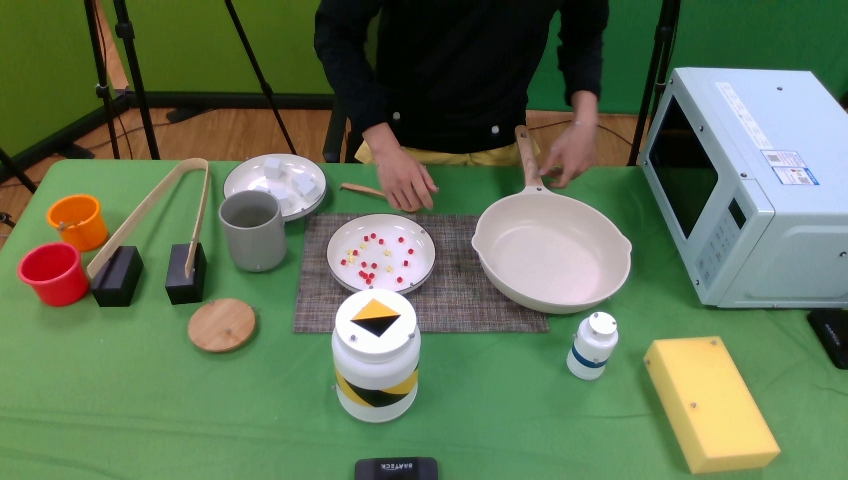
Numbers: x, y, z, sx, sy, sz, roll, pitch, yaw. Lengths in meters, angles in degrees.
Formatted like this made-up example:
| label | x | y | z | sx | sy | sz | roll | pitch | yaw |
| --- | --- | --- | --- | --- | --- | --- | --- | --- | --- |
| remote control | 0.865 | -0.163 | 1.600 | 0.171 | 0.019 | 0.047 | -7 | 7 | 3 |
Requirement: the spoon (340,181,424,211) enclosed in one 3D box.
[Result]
| label | x | y | z | sx | sy | sz | roll | pitch | yaw |
| --- | --- | --- | --- | --- | --- | --- | --- | --- | --- |
| spoon | -0.090 | -0.100 | 1.282 | 0.193 | 0.022 | 0.041 | 18 | 64 | 12 |

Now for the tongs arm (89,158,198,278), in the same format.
| label | x | y | z | sx | sy | sz | roll | pitch | yaw |
| --- | --- | --- | --- | --- | --- | --- | --- | --- | --- |
| tongs arm | -0.529 | -0.057 | 1.164 | 0.028 | 0.028 | 0.385 | 1 | 36 | 8 |

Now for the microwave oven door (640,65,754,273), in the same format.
| label | x | y | z | sx | sy | sz | roll | pitch | yaw |
| --- | --- | --- | --- | --- | --- | --- | --- | --- | --- |
| microwave oven door | 0.523 | -0.147 | 1.193 | 0.039 | 0.245 | 0.353 | 0 | 47 | -3 |

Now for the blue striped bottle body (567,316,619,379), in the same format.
| label | x | y | z | sx | sy | sz | roll | pitch | yaw |
| --- | --- | --- | --- | --- | --- | --- | --- | --- | --- |
| blue striped bottle body | 0.276 | 0.168 | 0.984 | 0.063 | 0.121 | 0.062 | 2 | 46 | -2 |

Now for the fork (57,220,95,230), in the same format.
| label | x | y | z | sx | sy | sz | roll | pitch | yaw |
| --- | --- | --- | --- | --- | --- | --- | --- | --- | --- |
| fork | -0.624 | -0.027 | 1.087 | 0.028 | 0.207 | 0.018 | -3 | 92 | -17 |

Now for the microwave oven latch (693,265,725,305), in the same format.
| label | x | y | z | sx | sy | sz | roll | pitch | yaw |
| --- | --- | --- | --- | --- | --- | --- | --- | --- | --- |
| microwave oven latch | 0.523 | 0.082 | 1.116 | 0.030 | 0.029 | 0.078 | 2 | 46 | -1 |

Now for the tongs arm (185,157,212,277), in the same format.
| label | x | y | z | sx | sy | sz | roll | pitch | yaw |
| --- | --- | --- | --- | --- | --- | --- | --- | --- | --- |
| tongs arm | -0.445 | -0.058 | 1.168 | 0.051 | 0.026 | 0.382 | -5 | 37 | -6 |

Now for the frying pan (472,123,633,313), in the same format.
| label | x | y | z | sx | sy | sz | roll | pitch | yaw |
| --- | --- | --- | --- | --- | --- | --- | --- | --- | --- |
| frying pan | 0.235 | -0.061 | 1.207 | 0.307 | 0.103 | 0.484 | 2 | 54 | -6 |

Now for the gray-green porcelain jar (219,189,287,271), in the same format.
| label | x | y | z | sx | sy | sz | roll | pitch | yaw |
| --- | --- | --- | --- | --- | --- | --- | --- | --- | --- |
| gray-green porcelain jar | -0.310 | -0.014 | 1.113 | 0.106 | 0.127 | 0.105 | 2 | 46 | -2 |

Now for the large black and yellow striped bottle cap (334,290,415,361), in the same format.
| label | x | y | z | sx | sy | sz | roll | pitch | yaw |
| --- | --- | --- | --- | --- | --- | --- | --- | --- | --- |
| large black and yellow striped bottle cap | -0.069 | 0.117 | 0.850 | 0.115 | 0.019 | 0.114 | 2 | 45 | -2 |

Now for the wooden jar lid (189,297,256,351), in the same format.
| label | x | y | z | sx | sy | sz | roll | pitch | yaw |
| --- | --- | --- | --- | --- | --- | --- | --- | --- | --- |
| wooden jar lid | -0.342 | 0.145 | 1.033 | 0.108 | 0.021 | 0.107 | 2 | 45 | -2 |

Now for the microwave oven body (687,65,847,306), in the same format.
| label | x | y | z | sx | sy | sz | roll | pitch | yaw |
| --- | --- | --- | --- | --- | --- | --- | --- | --- | --- |
| microwave oven body | 0.669 | -0.111 | 1.176 | 0.326 | 0.261 | 0.439 | 0 | 46 | -3 |

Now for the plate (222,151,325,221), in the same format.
| label | x | y | z | sx | sy | sz | roll | pitch | yaw |
| --- | --- | --- | --- | --- | --- | --- | --- | --- | --- |
| plate | -0.310 | -0.106 | 1.263 | 0.208 | 0.039 | 0.206 | 2 | 46 | -2 |

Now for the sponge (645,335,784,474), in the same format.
| label | x | y | z | sx | sy | sz | roll | pitch | yaw |
| --- | --- | --- | --- | --- | --- | --- | --- | --- | --- |
| sponge | 0.449 | 0.253 | 0.956 | 0.118 | 0.061 | 0.205 | -4 | 46 | -7 |

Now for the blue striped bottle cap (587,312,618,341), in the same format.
| label | x | y | z | sx | sy | sz | roll | pitch | yaw |
| --- | --- | --- | --- | --- | --- | --- | --- | --- | --- |
| blue striped bottle cap | 0.279 | 0.134 | 0.947 | 0.044 | 0.021 | 0.044 | 2 | 45 | -2 |

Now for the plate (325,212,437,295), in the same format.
| label | x | y | z | sx | sy | sz | roll | pitch | yaw |
| --- | --- | --- | --- | --- | --- | --- | --- | --- | --- |
| plate | -0.080 | 0.030 | 1.143 | 0.209 | 0.038 | 0.208 | 3 | 46 | -2 |

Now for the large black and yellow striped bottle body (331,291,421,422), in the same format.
| label | x | y | z | sx | sy | sz | roll | pitch | yaw |
| --- | --- | --- | --- | --- | --- | --- | --- | --- | --- |
| large black and yellow striped bottle body | -0.071 | 0.175 | 0.911 | 0.131 | 0.185 | 0.130 | 2 | 47 | -2 |
